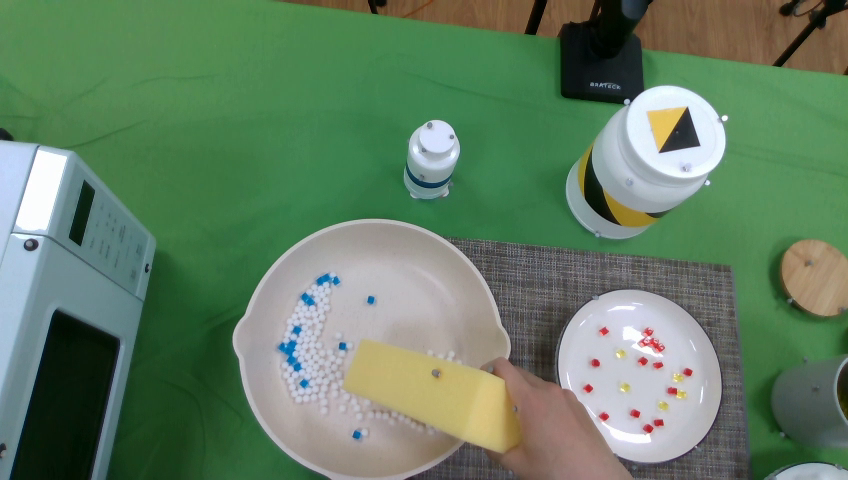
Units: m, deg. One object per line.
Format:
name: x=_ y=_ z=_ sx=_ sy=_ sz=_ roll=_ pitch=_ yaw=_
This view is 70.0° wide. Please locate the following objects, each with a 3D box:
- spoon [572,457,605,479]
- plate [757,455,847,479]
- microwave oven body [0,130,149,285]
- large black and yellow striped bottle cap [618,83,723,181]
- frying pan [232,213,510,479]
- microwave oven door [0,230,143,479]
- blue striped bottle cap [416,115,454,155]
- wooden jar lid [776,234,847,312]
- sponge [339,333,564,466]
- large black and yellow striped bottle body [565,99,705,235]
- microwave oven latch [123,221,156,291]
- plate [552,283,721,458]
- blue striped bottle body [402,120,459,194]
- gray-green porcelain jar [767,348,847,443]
spoon: x=0.240 y=0.329 z=0.699 sx=0.193 sy=0.022 sz=0.041 roll=45 pitch=56 yaw=6
plate: x=0.464 y=0.361 z=0.711 sx=0.208 sy=0.039 sz=0.206 roll=2 pitch=72 yaw=-6
microwave oven body: x=-0.482 y=0.139 z=0.541 sx=0.326 sy=0.261 sz=0.439 roll=6 pitch=73 yaw=-5
large black and yellow striped bottle cap: x=0.272 y=-0.120 z=0.669 sx=0.115 sy=0.019 sz=0.114 roll=2 pitch=71 yaw=-6
frying pan: x=-0.062 y=0.208 z=0.655 sx=0.307 sy=0.103 sz=0.484 roll=4 pitch=64 yaw=-3
microwave oven door: x=-0.341 y=0.194 z=0.536 sx=0.039 sy=0.245 sz=0.353 roll=6 pitch=72 yaw=-5
blue striped bottle cap: x=0.013 y=-0.123 z=0.706 sx=0.044 sy=0.021 sz=0.044 roll=2 pitch=70 yaw=-5
wooden jar lid: x=0.530 y=0.046 z=0.826 sx=0.108 sy=0.021 sz=0.108 roll=2 pitch=74 yaw=-6
sponge: x=0.020 y=0.156 z=0.613 sx=0.119 sy=0.205 sz=0.060 roll=31 pitch=73 yaw=-34
large black and yellow striped bottle body: x=0.263 y=-0.094 z=0.750 sx=0.131 sy=0.185 sz=0.130 roll=2 pitch=72 yaw=-6
microwave oven latch: x=-0.332 y=0.017 z=0.699 sx=0.030 sy=0.029 sz=0.078 roll=8 pitch=73 yaw=-5
plate: x=0.256 y=0.157 z=0.744 sx=0.209 sy=0.038 sz=0.208 roll=2 pitch=73 yaw=-6
blue striped bottle body: x=0.008 y=-0.107 z=0.755 sx=0.063 sy=0.121 sz=0.062 roll=2 pitch=72 yaw=-6
gray-green porcelain jar: x=0.488 y=0.187 z=0.721 sx=0.106 sy=0.127 sz=0.105 roll=2 pitch=72 yaw=-6
